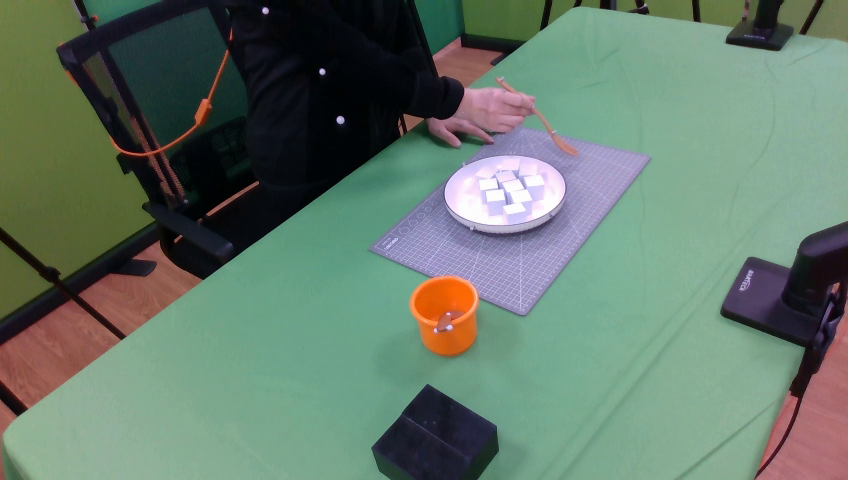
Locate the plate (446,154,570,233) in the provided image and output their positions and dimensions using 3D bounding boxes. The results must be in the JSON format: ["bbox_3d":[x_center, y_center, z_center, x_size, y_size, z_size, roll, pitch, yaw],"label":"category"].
[{"bbox_3d":[0.142,-0.076,1.033,0.207,0.039,0.206,-5,40,5],"label":"plate"}]

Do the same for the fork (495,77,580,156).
[{"bbox_3d":[0.203,-0.218,1.077,0.018,0.208,0.028,-36,20,37],"label":"fork"}]

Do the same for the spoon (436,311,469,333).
[{"bbox_3d":[0.030,0.102,0.761,0.041,0.194,0.021,2,85,8],"label":"spoon"}]
